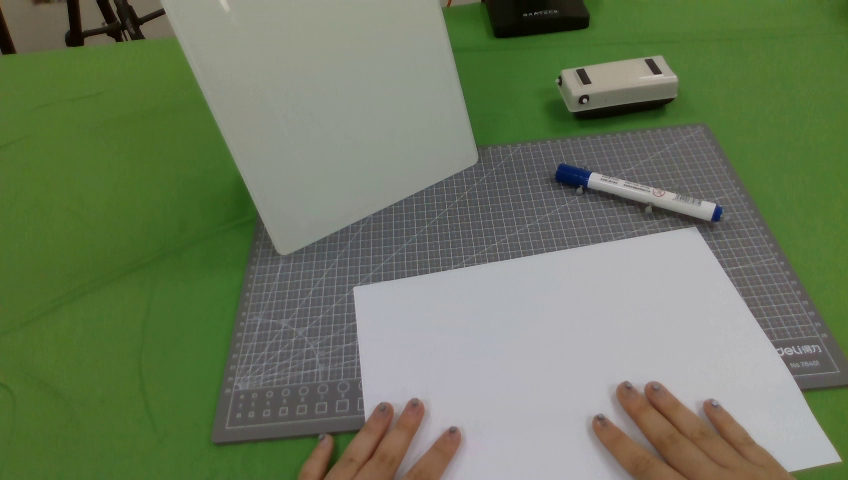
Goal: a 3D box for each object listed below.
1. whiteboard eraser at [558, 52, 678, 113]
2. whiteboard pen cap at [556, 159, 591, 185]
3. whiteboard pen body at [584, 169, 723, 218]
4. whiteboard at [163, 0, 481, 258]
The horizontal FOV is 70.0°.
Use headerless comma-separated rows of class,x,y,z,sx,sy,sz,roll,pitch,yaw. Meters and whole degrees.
whiteboard eraser,0.202,-0.163,0.636,0.113,0.042,0.055,-8,49,-1
whiteboard pen cap,0.141,-0.062,0.563,0.033,0.018,0.018,21,53,21
whiteboard pen body,0.191,-0.045,0.538,0.140,0.017,0.017,19,53,24
whiteboard,-0.105,-0.181,0.550,0.217,0.308,0.142,-27,30,-17
